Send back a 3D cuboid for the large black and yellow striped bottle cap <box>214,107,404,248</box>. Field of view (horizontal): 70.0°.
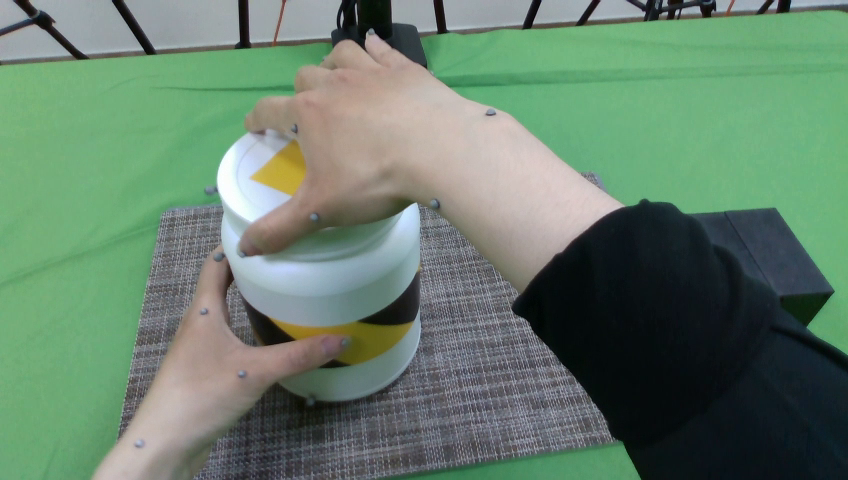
[{"bbox_3d":[-0.069,-0.043,0.375,0.115,0.019,0.114,0,47,0],"label":"large black and yellow striped bottle cap"}]

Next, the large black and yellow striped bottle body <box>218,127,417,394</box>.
[{"bbox_3d":[-0.071,0.013,0.438,0.131,0.185,0.129,1,47,0],"label":"large black and yellow striped bottle body"}]
